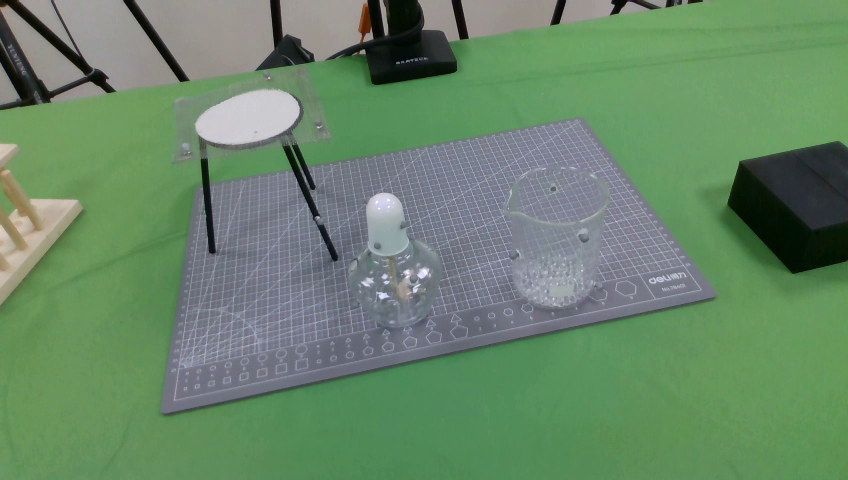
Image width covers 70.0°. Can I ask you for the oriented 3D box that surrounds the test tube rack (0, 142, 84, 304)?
[{"bbox_3d":[-0.427,0.013,0.556,0.066,0.086,0.240,2,43,9],"label":"test tube rack"}]

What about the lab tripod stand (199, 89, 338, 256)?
[{"bbox_3d":[-0.144,-0.058,0.559,0.148,0.133,0.147,-4,44,4],"label":"lab tripod stand"}]

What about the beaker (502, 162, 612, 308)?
[{"bbox_3d":[0.104,0.000,0.490,0.084,0.101,0.073,-14,42,-6],"label":"beaker"}]

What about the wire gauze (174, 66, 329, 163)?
[{"bbox_3d":[-0.151,-0.107,0.513,0.125,0.011,0.120,-15,43,-8],"label":"wire gauze"}]

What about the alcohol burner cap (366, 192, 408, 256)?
[{"bbox_3d":[-0.030,-0.014,0.457,0.034,0.048,0.033,-2,40,2],"label":"alcohol burner cap"}]

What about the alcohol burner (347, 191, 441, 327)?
[{"bbox_3d":[-0.026,0.012,0.482,0.078,0.120,0.077,-4,40,4],"label":"alcohol burner"}]
